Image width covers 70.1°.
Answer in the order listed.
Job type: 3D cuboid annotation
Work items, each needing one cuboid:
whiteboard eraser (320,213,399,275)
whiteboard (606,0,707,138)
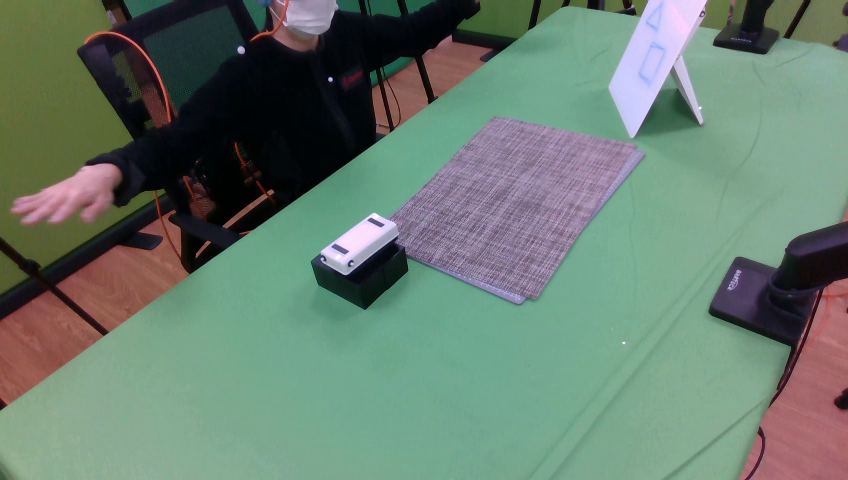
[{"bbox_3d":[-0.092,0.008,0.884,0.055,0.042,0.113,28,51,32],"label":"whiteboard eraser"},{"bbox_3d":[0.496,-0.359,1.147,0.144,0.305,0.216,11,40,-7],"label":"whiteboard"}]
